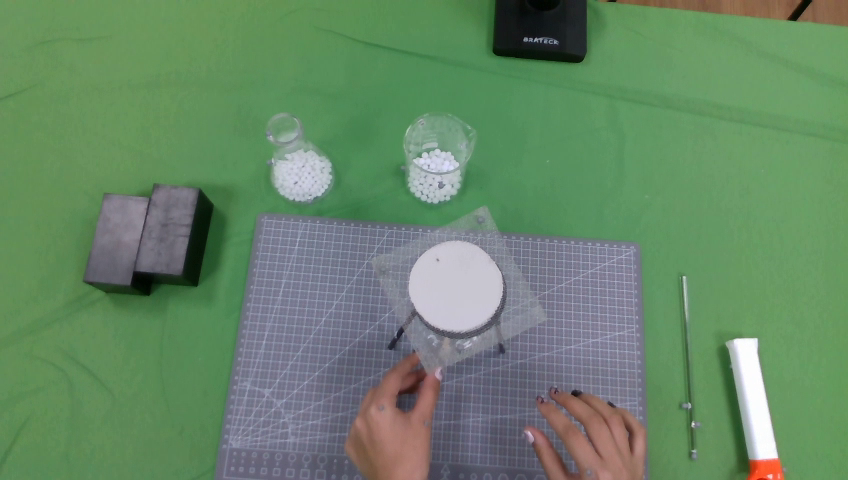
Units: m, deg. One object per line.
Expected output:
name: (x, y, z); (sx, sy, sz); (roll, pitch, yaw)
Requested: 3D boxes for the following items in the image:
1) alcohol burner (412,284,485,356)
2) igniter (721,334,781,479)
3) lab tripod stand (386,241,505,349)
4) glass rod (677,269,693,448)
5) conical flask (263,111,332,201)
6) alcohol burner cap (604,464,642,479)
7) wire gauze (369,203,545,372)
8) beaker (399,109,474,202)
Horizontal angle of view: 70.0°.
alcohol burner: (0.027, 0.079, 0.624); (0.078, 0.119, 0.077); (1, 71, -4)
igniter: (0.355, 0.237, 0.639); (0.057, 0.025, 0.275); (2, 73, -13)
lab tripod stand: (0.025, 0.065, 0.617); (0.148, 0.132, 0.147); (1, 75, -2)
glass rod: (0.292, 0.129, 0.679); (0.008, 0.008, 0.198); (4, 73, -1)
conical flask: (-0.145, -0.097, 0.667); (0.075, 0.122, 0.075); (1, 72, -2)
alcohol burner cap: (0.206, 0.248, 0.619); (0.034, 0.048, 0.033); (1, 73, -2)
wire gauze: (0.029, 0.041, 0.554); (0.125, 0.011, 0.121); (-24, 77, -8)
beaker: (0.013, -0.092, 0.685); (0.084, 0.101, 0.073); (-21, 75, -9)
